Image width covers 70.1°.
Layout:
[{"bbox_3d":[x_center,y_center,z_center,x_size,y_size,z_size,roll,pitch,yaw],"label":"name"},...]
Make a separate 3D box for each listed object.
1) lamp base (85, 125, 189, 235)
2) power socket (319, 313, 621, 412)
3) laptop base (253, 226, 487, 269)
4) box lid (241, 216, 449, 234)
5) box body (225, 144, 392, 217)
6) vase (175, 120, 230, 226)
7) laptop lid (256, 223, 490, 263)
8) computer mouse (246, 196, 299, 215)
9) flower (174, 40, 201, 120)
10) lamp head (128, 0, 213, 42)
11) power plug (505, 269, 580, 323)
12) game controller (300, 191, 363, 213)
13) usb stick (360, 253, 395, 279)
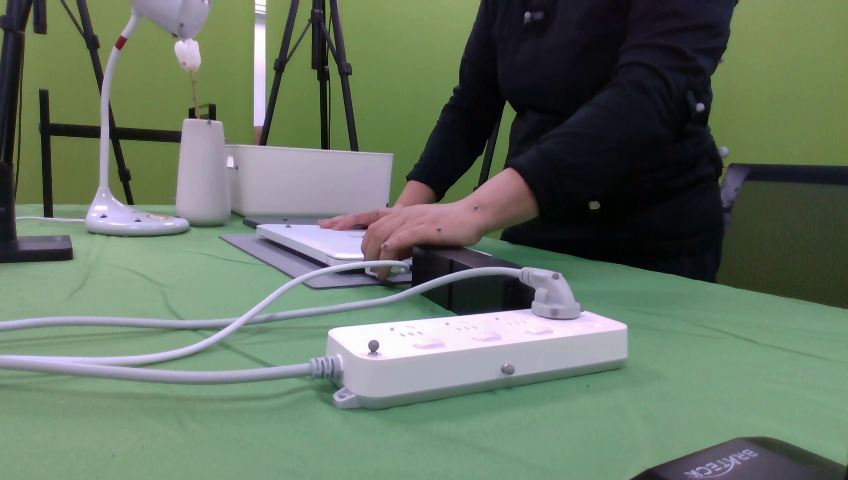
[{"bbox_3d":[-0.498,-0.105,1.026,0.179,0.180,0.160,1,7,3],"label":"lamp base"},{"bbox_3d":[0.037,0.076,0.409,0.228,0.032,0.072,-2,8,-29],"label":"power socket"},{"bbox_3d":[-0.096,0.011,0.911,0.237,0.023,0.352,3,6,-32],"label":"laptop base"},{"bbox_3d":[-0.162,-0.030,1.233,0.373,0.015,0.262,-1,8,-32],"label":"box lid"},{"bbox_3d":[-0.289,-0.143,1.474,0.366,0.160,0.253,-1,9,-29],"label":"box body"},{"bbox_3d":[-0.425,-0.128,1.158,0.098,0.200,0.098,2,9,0],"label":"vase"},{"bbox_3d":[-0.093,0.001,0.911,0.243,0.013,0.355,2,7,-30],"label":"laptop lid"},{"bbox_3d":[-0.355,-0.082,1.417,0.117,0.041,0.063,1,9,7],"label":"computer mouse"},{"bbox_3d":[-0.430,-0.211,1.165,0.044,0.361,0.038,-10,-5,-22],"label":"flower"},{"bbox_3d":[-0.423,-0.394,0.980,0.123,0.112,0.112,20,7,-3],"label":"lamp head"},{"bbox_3d":[0.092,0.051,0.469,0.035,0.052,0.072,-1,6,-15],"label":"power plug"},{"bbox_3d":[-0.240,-0.098,1.550,0.155,0.051,0.097,3,9,5],"label":"game controller"},{"bbox_3d":[-0.057,0.030,0.702,0.021,0.027,0.059,-1,2,-32],"label":"usb stick"}]
